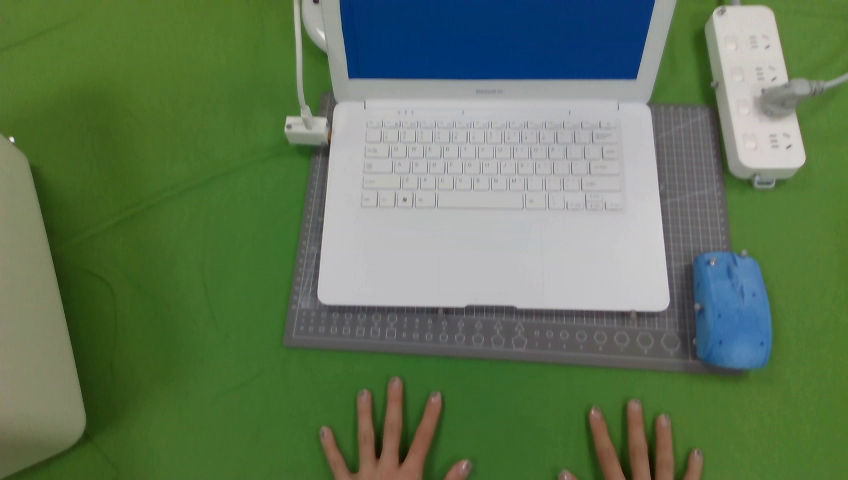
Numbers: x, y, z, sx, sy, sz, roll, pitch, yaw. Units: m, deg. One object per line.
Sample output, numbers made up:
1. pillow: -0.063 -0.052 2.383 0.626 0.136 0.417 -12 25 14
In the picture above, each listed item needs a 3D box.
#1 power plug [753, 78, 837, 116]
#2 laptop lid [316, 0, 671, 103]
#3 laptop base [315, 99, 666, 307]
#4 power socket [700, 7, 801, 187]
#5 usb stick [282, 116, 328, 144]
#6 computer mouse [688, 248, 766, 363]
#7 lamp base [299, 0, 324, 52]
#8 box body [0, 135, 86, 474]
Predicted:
1. power plug: 0.389 -0.146 0.644 0.072 0.053 0.035 11 69 4
2. laptop lid: 0.067 -0.236 0.603 0.356 0.244 0.013 -1 46 3
3. laptop base: 0.068 -0.044 0.647 0.354 0.023 0.234 1 73 2
4. power socket: 0.361 -0.168 0.677 0.072 0.033 0.225 1 69 1
5. usb stick: -0.124 -0.121 0.669 0.059 0.027 0.021 5 64 1
6. computer mouse: 0.294 0.061 0.589 0.063 0.041 0.116 6 66 5
7. lamp base: -0.083 -0.320 0.670 0.160 0.181 0.178 -35 69 -11
8. box body: -0.496 0.059 0.550 0.254 0.161 0.361 -23 70 -7
